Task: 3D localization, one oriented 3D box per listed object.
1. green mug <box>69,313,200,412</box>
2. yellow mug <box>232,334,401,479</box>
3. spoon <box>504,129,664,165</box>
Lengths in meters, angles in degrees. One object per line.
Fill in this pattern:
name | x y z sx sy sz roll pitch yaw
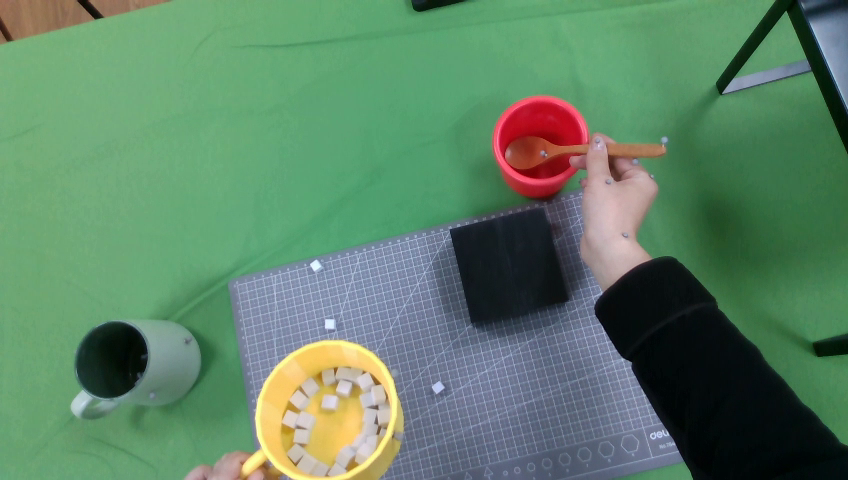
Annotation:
green mug | -0.308 0.132 0.632 0.092 0.105 0.125 43 86 12
yellow mug | -0.082 0.136 0.447 0.131 0.064 0.099 -34 67 -14
spoon | 0.152 -0.093 0.609 0.022 0.192 0.041 25 83 -34
